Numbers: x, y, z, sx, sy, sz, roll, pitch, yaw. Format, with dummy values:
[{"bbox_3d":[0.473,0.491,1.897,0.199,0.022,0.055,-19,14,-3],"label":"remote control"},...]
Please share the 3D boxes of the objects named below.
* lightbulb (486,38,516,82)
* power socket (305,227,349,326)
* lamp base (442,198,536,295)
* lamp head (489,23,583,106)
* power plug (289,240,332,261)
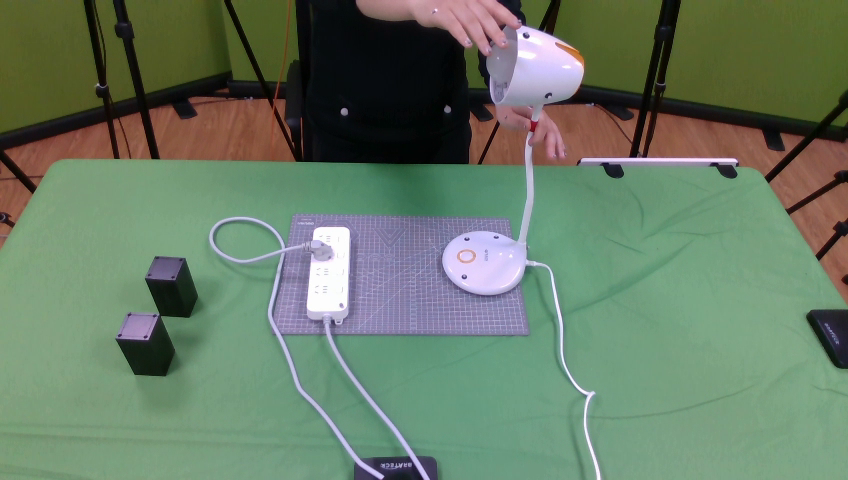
[{"bbox_3d":[0.141,-0.252,0.864,0.108,0.060,0.059,9,45,-4],"label":"lightbulb"},{"bbox_3d":[-0.177,0.059,1.115,0.072,0.033,0.225,-1,46,-4],"label":"power socket"},{"bbox_3d":[0.130,-0.012,1.105,0.179,0.181,0.159,-1,46,-9],"label":"lamp base"},{"bbox_3d":[0.163,-0.242,0.873,0.123,0.113,0.111,8,44,-17],"label":"lamp head"},{"bbox_3d":[-0.207,0.022,1.123,0.072,0.053,0.035,5,44,5],"label":"power plug"}]
